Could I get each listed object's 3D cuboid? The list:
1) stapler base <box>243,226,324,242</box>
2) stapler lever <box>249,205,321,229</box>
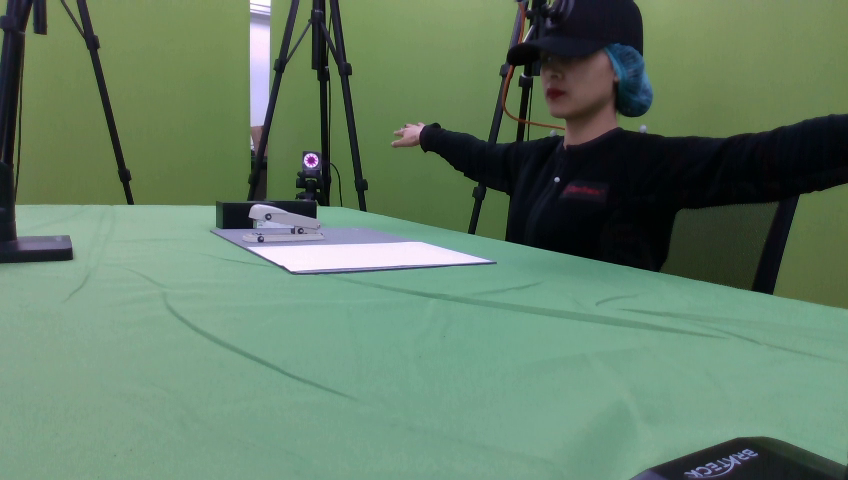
[{"bbox_3d":[-0.230,-0.012,0.996,0.131,0.024,0.041,-1,10,-36],"label":"stapler base"},{"bbox_3d":[-0.228,-0.037,0.994,0.119,0.040,0.026,-1,10,-36],"label":"stapler lever"}]
